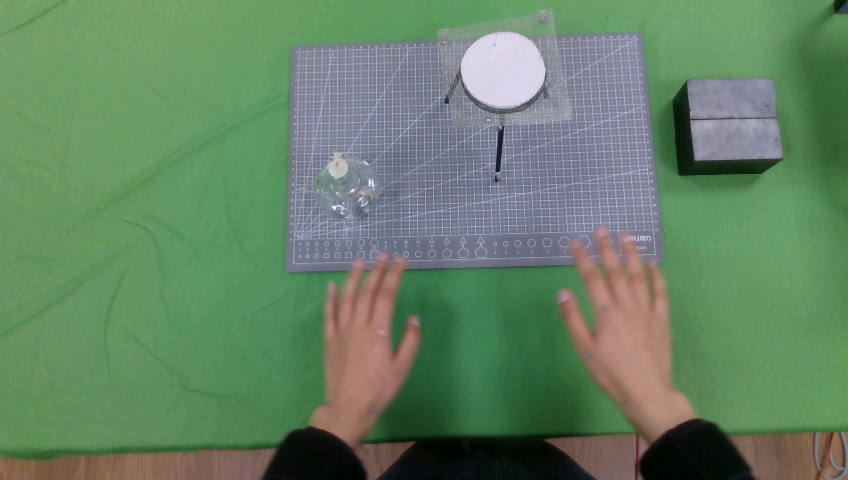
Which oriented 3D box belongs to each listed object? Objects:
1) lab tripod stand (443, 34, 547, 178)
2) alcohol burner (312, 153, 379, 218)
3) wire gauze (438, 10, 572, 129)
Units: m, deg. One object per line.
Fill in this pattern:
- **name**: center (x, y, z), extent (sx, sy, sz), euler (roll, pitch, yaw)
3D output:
- **lab tripod stand**: center (0.087, -0.162, 0.690), extent (0.148, 0.132, 0.147), euler (0, 76, 2)
- **alcohol burner**: center (-0.092, -0.068, 0.687), extent (0.078, 0.119, 0.077), euler (0, 75, 2)
- **wire gauze**: center (0.082, -0.175, 0.625), extent (0.125, 0.011, 0.121), euler (-7, 78, 0)
